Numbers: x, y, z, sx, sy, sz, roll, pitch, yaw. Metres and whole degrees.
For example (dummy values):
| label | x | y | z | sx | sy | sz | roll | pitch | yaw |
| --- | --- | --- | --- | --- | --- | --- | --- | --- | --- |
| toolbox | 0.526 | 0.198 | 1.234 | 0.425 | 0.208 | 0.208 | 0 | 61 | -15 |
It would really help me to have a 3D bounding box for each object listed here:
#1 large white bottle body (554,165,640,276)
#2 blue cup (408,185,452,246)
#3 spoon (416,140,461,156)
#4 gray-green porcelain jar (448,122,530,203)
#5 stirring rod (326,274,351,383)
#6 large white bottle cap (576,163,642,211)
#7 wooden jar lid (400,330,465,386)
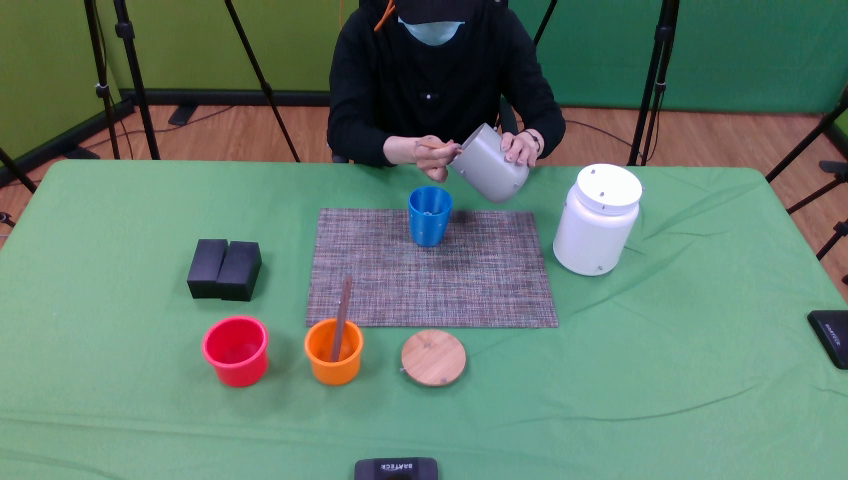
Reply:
| label | x | y | z | sx | sy | sz | roll | pitch | yaw |
| --- | --- | --- | --- | --- | --- | --- | --- | --- | --- |
| large white bottle body | 0.326 | -0.037 | 1.141 | 0.131 | 0.185 | 0.130 | 2 | 46 | -2 |
| blue cup | 0.008 | -0.042 | 1.176 | 0.093 | 0.101 | 0.092 | 3 | 47 | -3 |
| spoon | 0.076 | -0.155 | 1.141 | 0.194 | 0.022 | 0.041 | 21 | 50 | -15 |
| gray-green porcelain jar | 0.126 | -0.140 | 1.137 | 0.127 | 0.106 | 0.105 | 41 | 49 | -9 |
| stirring rod | -0.137 | 0.142 | 0.971 | 0.014 | 0.006 | 0.176 | 9 | 89 | 1 |
| large white bottle cap | 0.330 | -0.096 | 1.080 | 0.115 | 0.018 | 0.114 | 2 | 46 | -2 |
| wooden jar lid | 0.015 | 0.198 | 1.008 | 0.108 | 0.021 | 0.107 | 2 | 47 | -2 |
